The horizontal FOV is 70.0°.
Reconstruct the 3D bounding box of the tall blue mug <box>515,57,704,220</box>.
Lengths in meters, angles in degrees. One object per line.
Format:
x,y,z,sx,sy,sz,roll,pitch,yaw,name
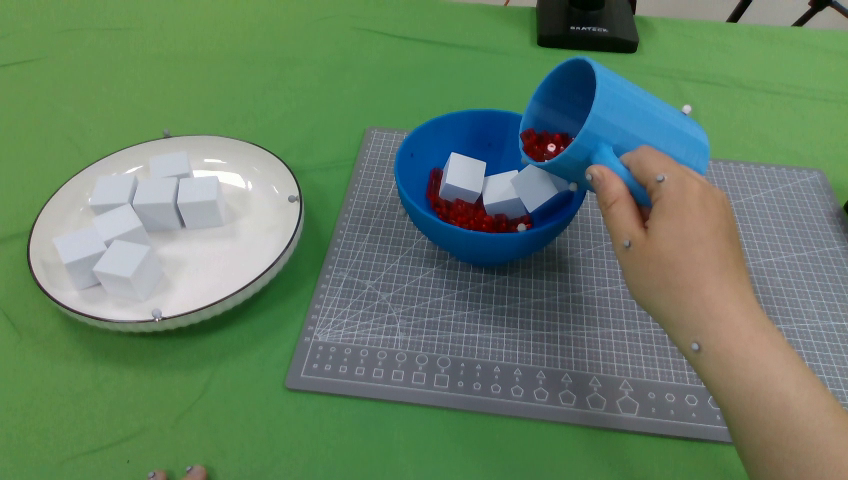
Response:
0.135,-0.064,0.410,0.109,0.078,0.106,20,6,-27,tall blue mug

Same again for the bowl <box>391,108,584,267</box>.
0.048,-0.031,0.492,0.151,0.077,0.150,1,48,-1,bowl

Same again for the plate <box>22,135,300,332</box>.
-0.204,-0.008,0.493,0.209,0.038,0.207,2,48,-1,plate
